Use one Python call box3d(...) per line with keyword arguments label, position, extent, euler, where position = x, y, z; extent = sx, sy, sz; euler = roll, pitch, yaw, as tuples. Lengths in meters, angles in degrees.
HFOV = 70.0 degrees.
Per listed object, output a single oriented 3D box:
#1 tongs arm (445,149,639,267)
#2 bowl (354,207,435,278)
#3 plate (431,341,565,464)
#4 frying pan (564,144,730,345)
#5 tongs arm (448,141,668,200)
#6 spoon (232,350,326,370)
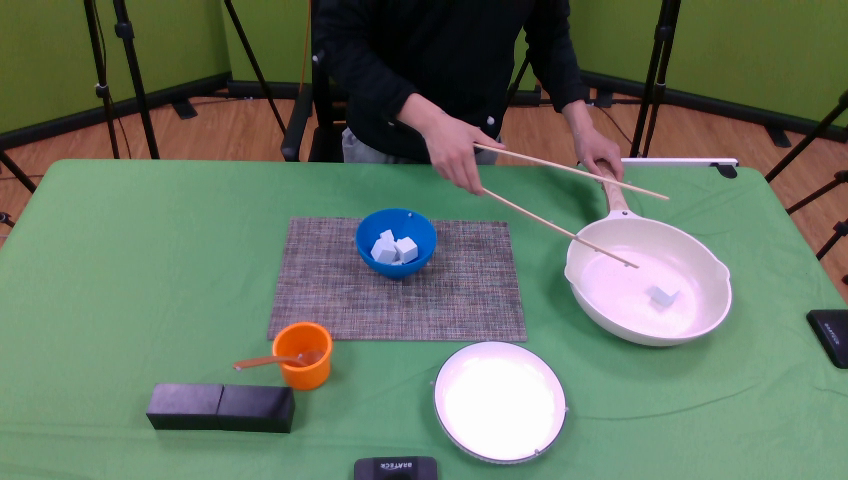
box3d(label="tongs arm", position=(0.205, -0.057, 1.062), extent=(0.384, 0.026, 0.051), euler=(25, 93, 6))
box3d(label="bowl", position=(-0.055, 0.018, 1.131), extent=(0.151, 0.077, 0.150), euler=(2, 46, -2))
box3d(label="plate", position=(0.114, 0.255, 0.951), extent=(0.208, 0.039, 0.206), euler=(3, 46, -2))
box3d(label="frying pan", position=(0.396, -0.008, 1.179), extent=(0.307, 0.103, 0.484), euler=(0, 55, -6))
box3d(label="tongs arm", position=(0.231, -0.121, 1.061), extent=(0.387, 0.028, 0.028), euler=(16, 6, 6))
box3d(label="spoon", position=(-0.216, 0.182, 0.919), extent=(0.041, 0.194, 0.021), euler=(43, 102, 27))
